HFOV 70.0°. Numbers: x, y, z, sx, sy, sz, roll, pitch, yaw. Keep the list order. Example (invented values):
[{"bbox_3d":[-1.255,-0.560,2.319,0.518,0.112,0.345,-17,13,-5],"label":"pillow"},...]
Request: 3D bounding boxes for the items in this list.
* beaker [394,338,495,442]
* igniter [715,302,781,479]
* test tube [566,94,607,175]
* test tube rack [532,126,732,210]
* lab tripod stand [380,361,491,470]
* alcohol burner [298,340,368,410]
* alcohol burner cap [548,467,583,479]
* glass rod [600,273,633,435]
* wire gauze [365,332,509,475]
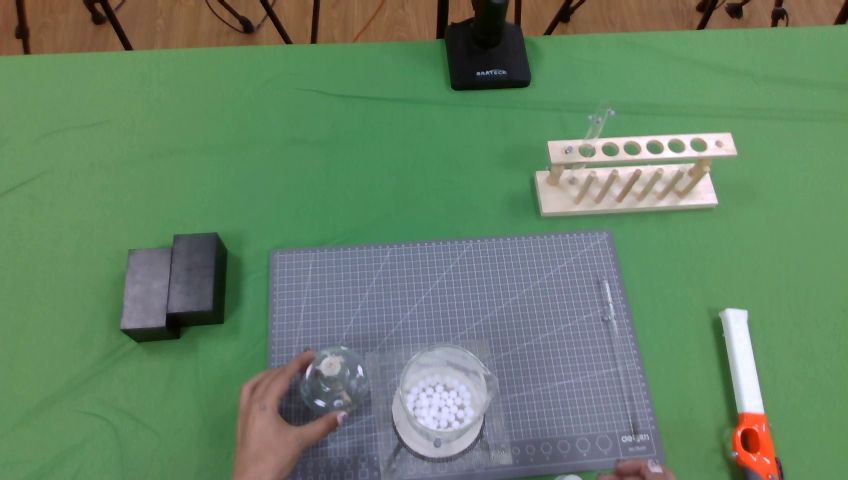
[{"bbox_3d":[0.016,0.136,0.533,0.084,0.101,0.073,-8,65,-6],"label":"beaker"},{"bbox_3d":[0.379,0.205,0.708,0.057,0.025,0.274,8,65,-11],"label":"igniter"},{"bbox_3d":[0.202,-0.129,0.763,0.017,0.151,0.017,1,62,-1],"label":"test tube"},{"bbox_3d":[0.275,-0.094,0.806,0.243,0.086,0.066,-3,65,-4],"label":"test tube rack"},{"bbox_3d":[0.008,0.184,0.636,0.148,0.132,0.147,0,65,-1],"label":"lab tripod stand"},{"bbox_3d":[-0.101,0.142,0.660,0.078,0.120,0.077,1,63,-2],"label":"alcohol burner"},{"bbox_3d":[0.157,0.264,0.662,0.034,0.048,0.033,1,65,-1],"label":"alcohol burner cap"},{"bbox_3d":[0.234,0.134,0.739,0.008,0.008,0.198,-2,69,-4],"label":"glass rod"},{"bbox_3d":[0.010,0.153,0.578,0.125,0.011,0.120,-7,64,-4],"label":"wire gauze"}]
